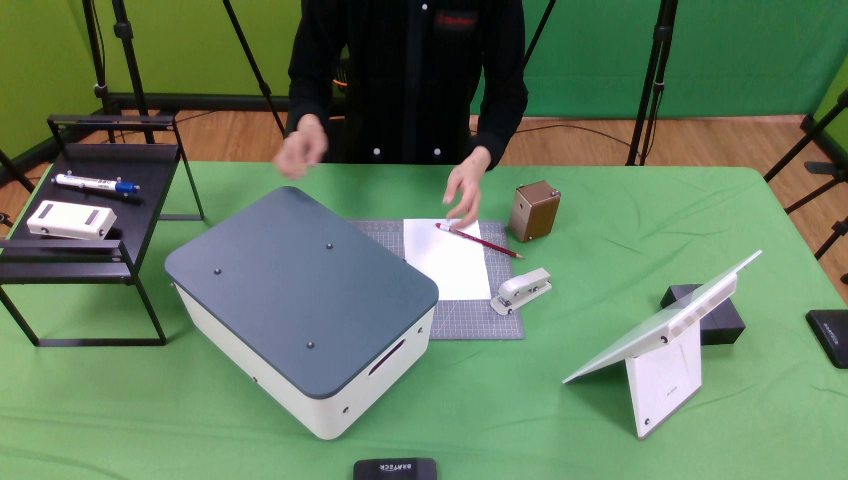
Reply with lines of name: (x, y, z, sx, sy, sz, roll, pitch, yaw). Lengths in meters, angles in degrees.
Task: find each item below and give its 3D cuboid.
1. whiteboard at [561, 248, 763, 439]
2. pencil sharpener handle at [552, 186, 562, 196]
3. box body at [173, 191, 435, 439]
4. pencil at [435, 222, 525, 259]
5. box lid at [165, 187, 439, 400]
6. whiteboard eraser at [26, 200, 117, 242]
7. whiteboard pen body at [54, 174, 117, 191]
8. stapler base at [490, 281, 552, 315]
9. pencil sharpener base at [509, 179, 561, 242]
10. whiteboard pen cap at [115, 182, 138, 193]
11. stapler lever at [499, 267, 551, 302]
whiteboard: (0.386, 0.176, 0.905, 0.217, 0.306, 0.143, -26, 72, -27)
pencil sharpener handle: (0.266, -0.085, 1.223, 0.031, 0.068, 0.036, -18, 64, -21)
box body: (-0.191, 0.110, 0.979, 0.362, 0.161, 0.254, 33, 53, 24)
pencil: (0.111, 0.001, 1.211, 0.193, 0.012, 0.012, 22, 49, 14)
box lid: (-0.186, 0.060, 0.925, 0.370, 0.015, 0.263, 32, 53, 25)
whiteboard eraser: (-0.532, -0.026, 0.919, 0.113, 0.042, 0.055, 7, 45, 3)
whiteboard pen body: (-0.541, -0.093, 0.993, 0.140, 0.017, 0.017, 7, 46, 9)
stapler base: (0.181, 0.094, 1.118, 0.130, 0.024, 0.041, -24, 57, -29)
pencil sharpener base: (0.222, -0.059, 1.212, 0.077, 0.107, 0.061, -18, 49, -21)
whiteboard pen cap: (-0.483, -0.086, 0.984, 0.033, 0.018, 0.018, 7, 46, 10)
stapler lever: (0.185, 0.076, 1.101, 0.118, 0.040, 0.026, -25, 57, -29)
